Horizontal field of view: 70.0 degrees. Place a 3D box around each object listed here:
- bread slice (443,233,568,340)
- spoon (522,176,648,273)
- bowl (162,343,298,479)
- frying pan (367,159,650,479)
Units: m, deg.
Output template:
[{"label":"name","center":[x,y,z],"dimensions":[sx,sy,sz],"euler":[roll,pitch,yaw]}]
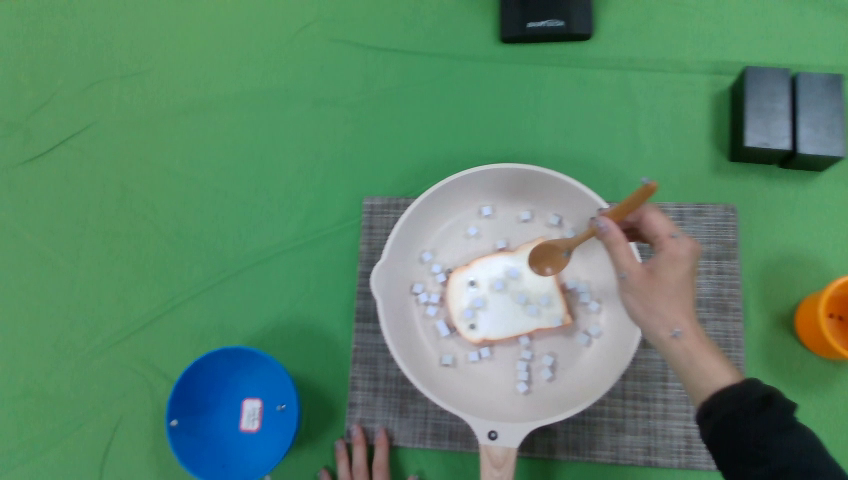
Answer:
[{"label":"bread slice","center":[0.091,0.063,0.713],"dimensions":[0.134,0.018,0.106],"euler":[-19,77,0]},{"label":"spoon","center":[0.152,-0.010,0.588],"dimensions":[0.042,0.194,0.021],"euler":[36,61,-4]},{"label":"bowl","center":[-0.209,0.195,0.695],"dimensions":[0.151,0.077,0.150],"euler":[-1,79,6]},{"label":"frying pan","center":[0.079,0.153,0.655],"dimensions":[0.306,0.103,0.485],"euler":[5,71,8]}]
